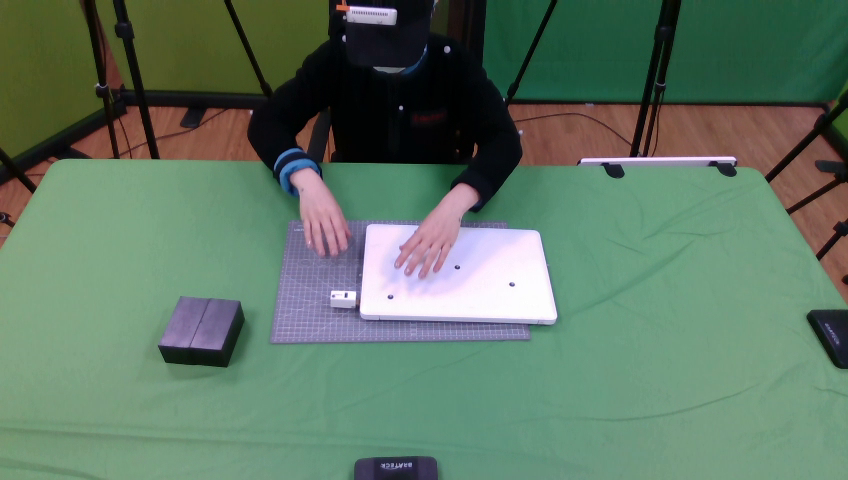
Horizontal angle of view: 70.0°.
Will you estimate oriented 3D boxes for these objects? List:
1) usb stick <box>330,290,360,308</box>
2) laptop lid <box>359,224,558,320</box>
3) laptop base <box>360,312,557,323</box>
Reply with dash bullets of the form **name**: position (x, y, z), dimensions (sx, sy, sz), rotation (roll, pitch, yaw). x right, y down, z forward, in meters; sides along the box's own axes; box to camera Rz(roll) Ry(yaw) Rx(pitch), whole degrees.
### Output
- **usb stick**: position (-0.135, 0.105, 1.068), dimensions (0.059, 0.027, 0.021), rotation (6, 44, -6)
- **laptop lid**: position (0.062, 0.053, 1.138), dimensions (0.357, 0.013, 0.240), rotation (3, 44, -2)
- **laptop base**: position (0.061, 0.063, 1.145), dimensions (0.354, 0.023, 0.234), rotation (2, 43, -3)
